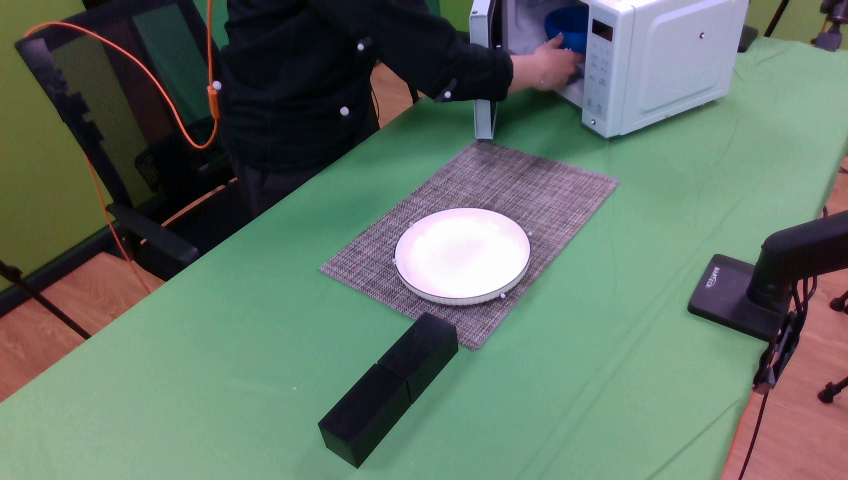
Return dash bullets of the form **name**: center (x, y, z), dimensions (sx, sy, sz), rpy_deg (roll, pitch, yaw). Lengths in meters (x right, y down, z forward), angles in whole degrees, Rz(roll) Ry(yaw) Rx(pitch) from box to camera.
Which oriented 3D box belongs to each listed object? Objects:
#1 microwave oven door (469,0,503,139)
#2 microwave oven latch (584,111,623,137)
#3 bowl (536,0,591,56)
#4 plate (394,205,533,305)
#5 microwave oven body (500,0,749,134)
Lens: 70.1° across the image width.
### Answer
- **microwave oven door**: center (0.130, -0.403, 1.225), dimensions (0.039, 0.245, 0.354), rpy_deg (2, 41, 10)
- **microwave oven latch**: center (0.337, -0.222, 1.142), dimensions (0.030, 0.029, 0.078), rpy_deg (-21, 42, -14)
- **bowl**: center (0.314, -0.446, 1.284), dimensions (0.151, 0.077, 0.150), rpy_deg (-5, 50, 6)
- **plate**: center (0.059, 0.025, 0.915), dimensions (0.207, 0.039, 0.206), rpy_deg (-4, 41, 4)
- **microwave oven body**: center (0.382, -0.444, 1.246), dimensions (0.327, 0.261, 0.437), rpy_deg (-22, 42, -16)
